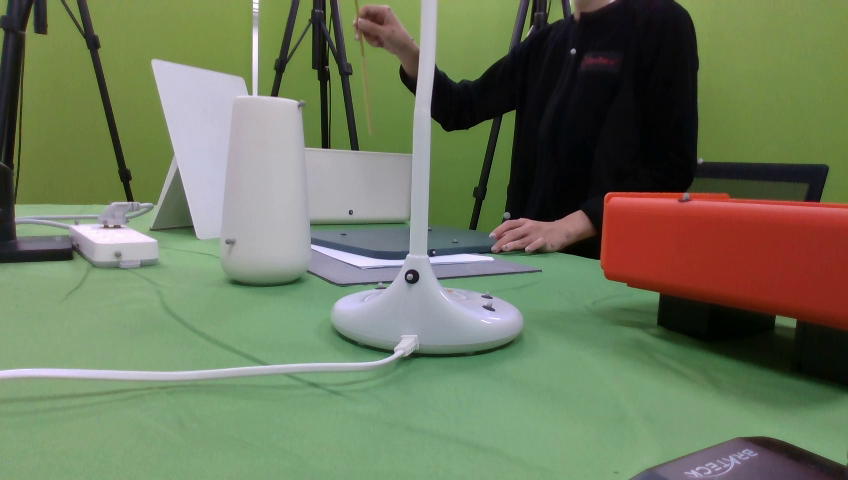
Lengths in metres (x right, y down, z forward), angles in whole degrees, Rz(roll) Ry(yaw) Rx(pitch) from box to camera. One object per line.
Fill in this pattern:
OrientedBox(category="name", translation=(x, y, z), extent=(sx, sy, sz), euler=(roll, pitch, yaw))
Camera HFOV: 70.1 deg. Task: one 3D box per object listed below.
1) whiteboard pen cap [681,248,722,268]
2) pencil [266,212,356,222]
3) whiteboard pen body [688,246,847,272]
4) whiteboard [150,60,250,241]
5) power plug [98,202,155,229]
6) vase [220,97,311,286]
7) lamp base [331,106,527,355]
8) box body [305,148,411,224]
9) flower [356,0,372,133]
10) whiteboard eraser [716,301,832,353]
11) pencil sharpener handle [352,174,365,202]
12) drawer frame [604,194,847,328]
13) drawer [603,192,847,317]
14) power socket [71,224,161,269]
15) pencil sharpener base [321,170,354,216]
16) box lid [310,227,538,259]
OrientedBox(category="whiteboard pen cap", translation=(0.250, 0.017, 0.544), extent=(0.033, 0.018, 0.018), euler=(2, 7, 25))
OrientedBox(category="pencil", translation=(-0.244, -0.049, 1.319), extent=(0.195, 0.012, 0.012), euler=(4, 7, -12))
OrientedBox(category="whiteboard pen body", translation=(0.303, 0.016, 0.520), extent=(0.140, 0.017, 0.017), euler=(4, 8, 25))
OrientedBox(category="whiteboard", translation=(-0.408, -0.139, 1.093), extent=(0.143, 0.305, 0.218), euler=(-15, -1, 26))
OrientedBox(category="power plug", translation=(-0.416, -0.026, 0.848), extent=(0.073, 0.052, 0.035), euler=(0, 7, -28))
OrientedBox(category="vase", translation=(-0.172, -0.052, 0.662), extent=(0.098, 0.200, 0.098), euler=(3, 8, 0))
OrientedBox(category="lamp base", translation=(0.006, -0.012, 0.478), extent=(0.161, 0.180, 0.179), euler=(2, 10, 2))
OrientedBox(category="box body", translation=(-0.230, -0.126, 1.371), extent=(0.366, 0.160, 0.253), euler=(-2, 8, -33))
OrientedBox(category="flower", translation=(-0.115, -0.372, 1.096), extent=(0.038, 0.362, 0.044), euler=(-8, 24, -7))
OrientedBox(category="whiteboard eraser", translation=(0.256, 0.042, 0.472), extent=(0.112, 0.042, 0.056), euler=(43, 19, 30))
OrientedBox(category="pencil sharpener handle", translation=(-0.156, -0.124, 1.449), extent=(0.031, 0.068, 0.036), euler=(1, 18, -10))
OrientedBox(category="drawer frame", translation=(0.298, 0.007, 0.497), extent=(0.203, 0.082, 0.212), euler=(-1, 7, -34))
OrientedBox(category="drawer", translation=(0.293, 0.002, 0.500), extent=(0.195, 0.073, 0.210), euler=(-1, 8, -34))
OrientedBox(category="power socket", translation=(-0.408, 0.004, 0.793), extent=(0.072, 0.032, 0.225), euler=(-2, 8, -38))
OrientedBox(category="pencil sharpener base", translation=(-0.206, -0.112, 1.437), extent=(0.077, 0.107, 0.061), euler=(1, 6, -11))
OrientedBox(category="box lid", translation=(-0.010, 0.001, 1.036), extent=(0.374, 0.015, 0.262), euler=(-3, 9, -44))
